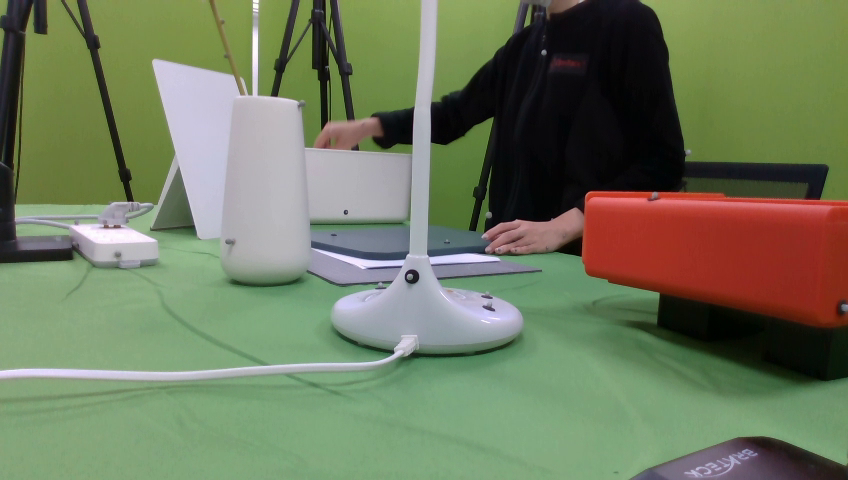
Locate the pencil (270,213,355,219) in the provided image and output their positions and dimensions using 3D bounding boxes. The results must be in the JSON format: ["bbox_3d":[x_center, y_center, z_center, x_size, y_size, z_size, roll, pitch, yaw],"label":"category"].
[{"bbox_3d":[-0.244,-0.054,1.339,0.195,0.012,0.012,-2,9,-29],"label":"pencil"}]

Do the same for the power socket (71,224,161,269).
[{"bbox_3d":[-0.408,0.004,0.793,0.072,0.032,0.225,-2,8,-38],"label":"power socket"}]

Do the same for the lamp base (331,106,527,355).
[{"bbox_3d":[0.006,-0.012,0.478,0.161,0.180,0.179,2,10,2],"label":"lamp base"}]

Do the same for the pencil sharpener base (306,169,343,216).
[{"bbox_3d":[-0.234,-0.113,1.433,0.077,0.107,0.061,-1,6,-30],"label":"pencil sharpener base"}]

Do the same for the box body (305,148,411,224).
[{"bbox_3d":[-0.233,-0.127,1.374,0.366,0.160,0.253,-2,8,-29],"label":"box body"}]

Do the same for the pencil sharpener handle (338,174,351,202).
[{"bbox_3d":[-0.190,-0.125,1.459,0.031,0.067,0.036,-1,11,-30],"label":"pencil sharpener handle"}]

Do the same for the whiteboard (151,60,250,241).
[{"bbox_3d":[-0.408,-0.140,1.094,0.143,0.305,0.218,-15,0,25],"label":"whiteboard"}]

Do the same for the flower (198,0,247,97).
[{"bbox_3d":[-0.187,-0.133,0.648,0.038,0.362,0.044,0,22,43],"label":"flower"}]

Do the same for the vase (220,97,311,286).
[{"bbox_3d":[-0.172,-0.052,0.662,0.098,0.200,0.098,3,9,0],"label":"vase"}]

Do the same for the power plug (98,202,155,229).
[{"bbox_3d":[-0.416,-0.027,0.848,0.073,0.052,0.035,0,8,-28],"label":"power plug"}]

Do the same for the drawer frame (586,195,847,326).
[{"bbox_3d":[0.284,0.004,0.508,0.203,0.082,0.212,-1,6,-28],"label":"drawer frame"}]

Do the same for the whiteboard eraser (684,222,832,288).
[{"bbox_3d":[0.304,0.013,0.558,0.056,0.042,0.112,-10,20,-30],"label":"whiteboard eraser"}]

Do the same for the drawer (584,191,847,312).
[{"bbox_3d":[0.280,0.001,0.513,0.195,0.073,0.211,0,8,-28],"label":"drawer"}]

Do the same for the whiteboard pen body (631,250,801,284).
[{"bbox_3d":[0.240,0.020,0.512,0.017,0.017,0.140,-4,8,-41],"label":"whiteboard pen body"}]

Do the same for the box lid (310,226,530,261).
[{"bbox_3d":[-0.024,0.001,1.023,0.374,0.015,0.262,-4,9,-44],"label":"box lid"}]

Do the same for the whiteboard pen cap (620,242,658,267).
[{"bbox_3d":[0.199,0.013,0.557,0.018,0.018,0.033,-4,17,-39],"label":"whiteboard pen cap"}]
